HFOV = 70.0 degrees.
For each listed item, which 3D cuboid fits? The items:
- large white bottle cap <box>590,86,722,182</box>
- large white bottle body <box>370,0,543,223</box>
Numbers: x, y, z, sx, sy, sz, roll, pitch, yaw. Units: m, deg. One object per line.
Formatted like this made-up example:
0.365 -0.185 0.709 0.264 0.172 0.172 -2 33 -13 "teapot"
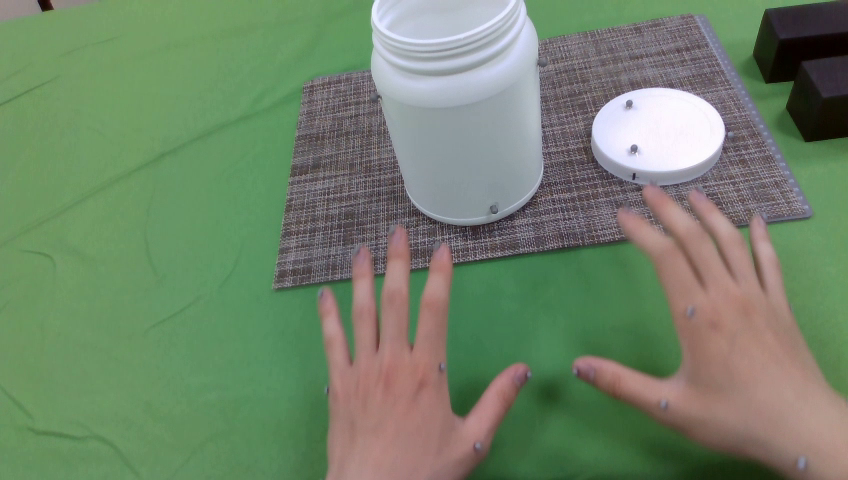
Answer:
0.212 -0.100 0.557 0.115 0.018 0.113 -6 51 8 "large white bottle cap"
0.030 -0.118 0.504 0.130 0.186 0.129 -6 50 8 "large white bottle body"
